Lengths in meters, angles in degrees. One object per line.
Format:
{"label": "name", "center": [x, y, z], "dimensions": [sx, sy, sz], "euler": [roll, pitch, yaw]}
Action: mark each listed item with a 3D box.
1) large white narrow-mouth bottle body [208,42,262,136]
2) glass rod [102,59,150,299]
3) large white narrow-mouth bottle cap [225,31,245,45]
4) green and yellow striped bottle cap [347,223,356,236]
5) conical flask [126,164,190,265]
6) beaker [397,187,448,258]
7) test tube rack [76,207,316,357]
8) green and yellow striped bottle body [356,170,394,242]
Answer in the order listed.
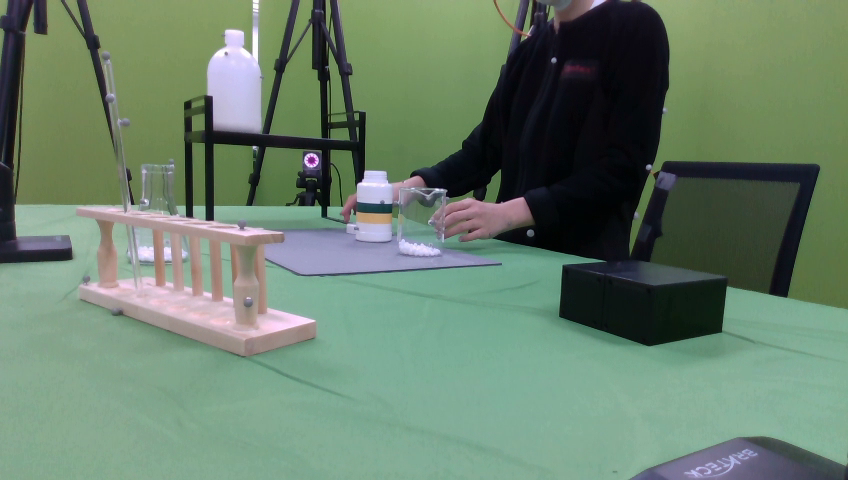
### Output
{"label": "large white narrow-mouth bottle body", "center": [-0.369, -0.304, 1.181], "dimensions": [0.102, 0.194, 0.101], "euler": [2, 9, 0]}
{"label": "glass rod", "center": [-0.243, -0.045, 0.496], "dimensions": [0.008, 0.199, 0.008], "euler": [-4, 13, 1]}
{"label": "large white narrow-mouth bottle cap", "center": [-0.365, -0.389, 1.166], "dimensions": [0.038, 0.024, 0.037], "euler": [2, 9, 0]}
{"label": "green and yellow striped bottle cap", "center": [-0.122, -0.021, 1.132], "dimensions": [0.045, 0.020, 0.045], "euler": [1, 9, 0]}
{"label": "conical flask", "center": [-0.332, -0.033, 0.756], "dimensions": [0.075, 0.122, 0.075], "euler": [2, 7, 0]}
{"label": "beaker", "center": [-0.002, -0.027, 0.890], "dimensions": [0.074, 0.100, 0.084], "euler": [0, 8, -11]}
{"label": "test tube rack", "center": [-0.196, 0.023, 0.500], "dimensions": [0.241, 0.085, 0.067], "euler": [7, 9, 36]}
{"label": "green and yellow striped bottle body", "center": [-0.084, -0.058, 1.028], "dimensions": [0.063, 0.119, 0.063], "euler": [3, 8, 0]}
